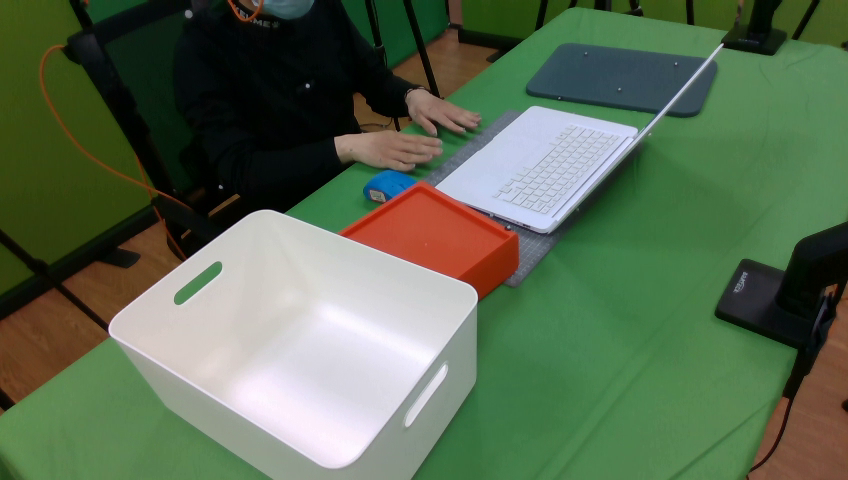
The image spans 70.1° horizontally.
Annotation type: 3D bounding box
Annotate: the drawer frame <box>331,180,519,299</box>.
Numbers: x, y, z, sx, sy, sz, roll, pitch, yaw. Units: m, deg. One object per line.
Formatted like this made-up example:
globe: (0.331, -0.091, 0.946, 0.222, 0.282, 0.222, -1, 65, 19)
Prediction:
drawer frame: (-0.003, 0.020, 0.901, 0.202, 0.083, 0.211, -35, 48, -28)

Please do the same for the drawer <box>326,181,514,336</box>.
drawer: (-0.005, 0.019, 0.902, 0.195, 0.073, 0.210, -34, 48, -27)

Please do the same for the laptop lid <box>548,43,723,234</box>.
laptop lid: (0.336, -0.160, 0.956, 0.013, 0.241, 0.358, 43, 54, 8)

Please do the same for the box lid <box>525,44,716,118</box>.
box lid: (0.432, -0.360, 1.341, 0.369, 0.015, 0.263, 16, 45, 24)

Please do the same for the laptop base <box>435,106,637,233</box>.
laptop base: (0.210, -0.142, 1.111, 0.233, 0.023, 0.355, 21, 48, 33)

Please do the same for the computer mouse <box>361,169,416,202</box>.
computer mouse: (-0.053, -0.093, 1.073, 0.116, 0.041, 0.063, 22, 46, 28)

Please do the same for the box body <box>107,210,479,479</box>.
box body: (-0.140, 0.136, 0.725, 0.361, 0.161, 0.254, 19, 47, 28)
